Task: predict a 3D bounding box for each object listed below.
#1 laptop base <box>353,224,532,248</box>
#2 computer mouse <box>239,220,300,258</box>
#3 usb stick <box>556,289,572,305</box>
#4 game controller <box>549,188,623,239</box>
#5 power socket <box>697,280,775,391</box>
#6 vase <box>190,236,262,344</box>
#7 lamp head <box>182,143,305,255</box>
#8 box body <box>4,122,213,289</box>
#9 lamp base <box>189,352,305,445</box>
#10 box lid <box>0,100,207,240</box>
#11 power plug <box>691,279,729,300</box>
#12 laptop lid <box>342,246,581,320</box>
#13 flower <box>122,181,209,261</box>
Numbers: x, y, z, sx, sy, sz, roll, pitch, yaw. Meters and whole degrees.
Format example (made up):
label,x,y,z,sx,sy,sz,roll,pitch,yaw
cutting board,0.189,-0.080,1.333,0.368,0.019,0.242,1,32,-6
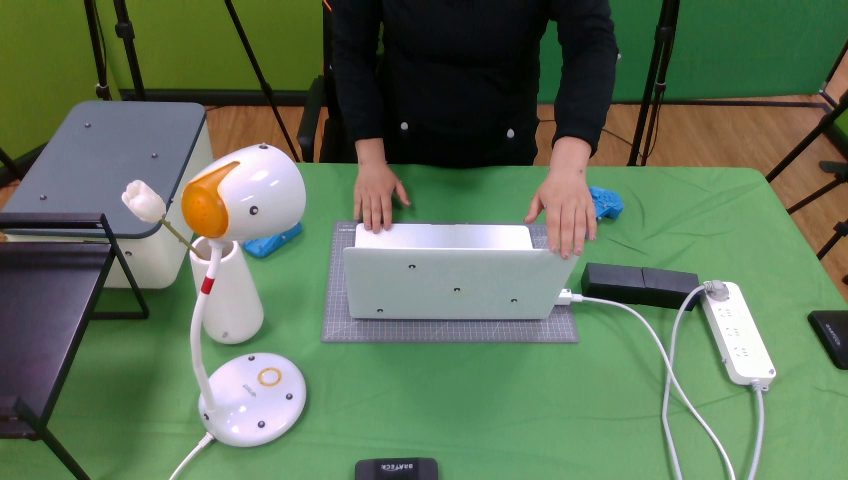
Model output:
label,x,y,z,sx,sy,sz,roll,pitch,yaw
laptop base,0.040,0.056,1.149,0.355,0.023,0.234,1,43,-4
computer mouse,-0.300,-0.016,1.178,0.062,0.041,0.117,35,58,23
usb stick,0.236,0.103,1.101,0.059,0.027,0.021,-1,49,1
game controller,0.345,-0.065,1.272,0.155,0.052,0.096,-31,58,-29
power socket,0.550,0.159,1.078,0.072,0.033,0.225,3,47,-1
vase,-0.317,0.081,0.971,0.098,0.201,0.097,3,47,-3
lamp head,-0.216,-0.044,0.697,0.112,0.113,0.123,23,31,17
box body,-0.563,-0.087,1.139,0.254,0.161,0.361,2,46,-3
lamp base,-0.268,0.196,0.876,0.160,0.181,0.179,25,52,19
box lid,-0.559,-0.138,1.084,0.263,0.015,0.369,2,46,-2
power plug,0.522,0.091,1.116,0.072,0.053,0.035,10,48,9
laptop lid,0.051,0.075,0.968,0.357,0.243,0.013,1,57,-5
flower,-0.329,0.030,0.905,0.038,0.364,0.044,-21,58,-1
